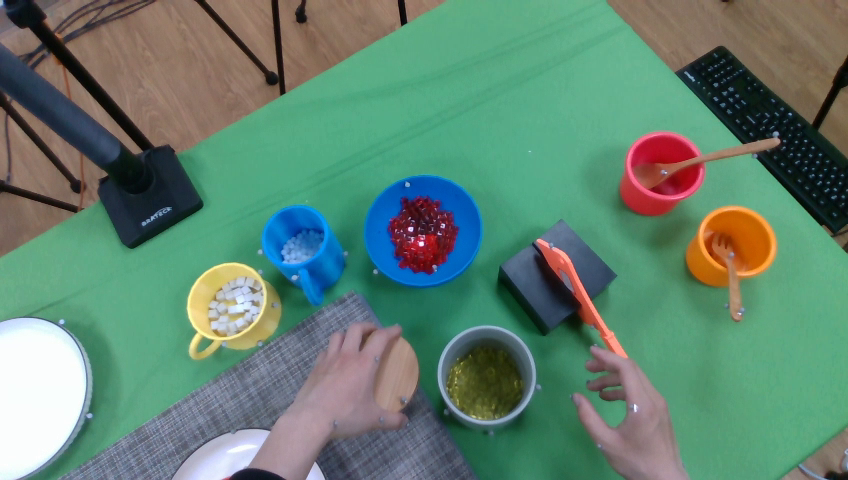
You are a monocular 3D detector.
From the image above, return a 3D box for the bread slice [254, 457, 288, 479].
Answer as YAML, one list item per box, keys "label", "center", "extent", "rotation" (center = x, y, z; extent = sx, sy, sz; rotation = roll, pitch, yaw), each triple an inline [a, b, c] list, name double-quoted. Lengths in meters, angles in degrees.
- label: "bread slice"
  center: [-0.215, 0.327, 0.705]
  extent: [0.131, 0.019, 0.104]
  rotation: [-19, 70, -7]

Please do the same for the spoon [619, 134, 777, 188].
- label: "spoon"
  center: [0.338, -0.102, 0.765]
  extent: [0.022, 0.193, 0.041]
  rotation: [29, 62, -34]

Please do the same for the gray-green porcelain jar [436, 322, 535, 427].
- label: "gray-green porcelain jar"
  center: [0.070, 0.160, 0.701]
  extent: [0.106, 0.127, 0.105]
  rotation: [-1, 70, 4]

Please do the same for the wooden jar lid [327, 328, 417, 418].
- label: "wooden jar lid"
  center: [-0.060, 0.156, 0.711]
  extent: [0.108, 0.021, 0.107]
  rotation: [-4, 61, 8]

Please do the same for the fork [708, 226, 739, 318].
- label: "fork"
  center: [0.355, 0.033, 0.714]
  extent: [0.028, 0.019, 0.206]
  rotation: [28, 31, 6]

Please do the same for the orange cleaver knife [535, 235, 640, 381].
- label: "orange cleaver knife"
  center: [0.198, 0.083, 0.743]
  extent: [0.012, 0.077, 0.212]
  rotation: [-35, 102, -8]

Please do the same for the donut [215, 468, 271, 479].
- label: "donut"
  center: [-0.206, 0.308, 0.678]
  extent: [0.099, 0.048, 0.098]
  rotation: [0, 70, 1]

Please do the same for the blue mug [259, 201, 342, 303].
- label: "blue mug"
  center: [-0.152, 0.024, 0.773]
  extent: [0.082, 0.106, 0.115]
  rotation: [-14, 70, -1]

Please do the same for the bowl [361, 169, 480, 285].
- label: "bowl"
  center: [-0.002, -0.006, 0.789]
  extent: [0.151, 0.077, 0.150]
  rotation: [-1, 71, 3]

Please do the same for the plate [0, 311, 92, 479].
- label: "plate"
  center: [-0.521, 0.195, 0.771]
  extent: [0.207, 0.039, 0.206]
  rotation: [-1, 71, 3]

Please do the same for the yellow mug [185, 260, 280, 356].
- label: "yellow mug"
  center: [-0.253, 0.094, 0.775]
  extent: [0.099, 0.064, 0.130]
  rotation: [32, 77, 15]

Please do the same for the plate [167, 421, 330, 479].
- label: "plate"
  center: [-0.203, 0.320, 0.703]
  extent: [0.209, 0.038, 0.207]
  rotation: [-1, 70, 3]
